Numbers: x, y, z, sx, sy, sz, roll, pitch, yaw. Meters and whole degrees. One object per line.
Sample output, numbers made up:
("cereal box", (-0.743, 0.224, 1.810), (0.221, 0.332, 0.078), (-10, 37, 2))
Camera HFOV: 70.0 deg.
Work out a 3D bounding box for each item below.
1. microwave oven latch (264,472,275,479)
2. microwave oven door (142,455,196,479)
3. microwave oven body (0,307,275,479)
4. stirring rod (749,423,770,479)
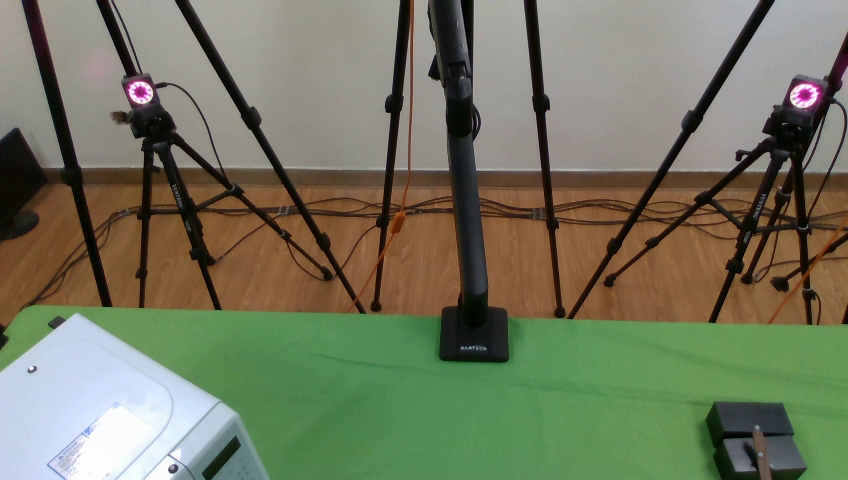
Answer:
("microwave oven latch", (-0.234, 0.365, 0.834), (0.030, 0.030, 0.079), (24, 51, 24))
("microwave oven door", (-0.355, 0.424, 0.632), (0.039, 0.246, 0.354), (21, 49, 24))
("microwave oven body", (-0.457, 0.353, 0.718), (0.324, 0.262, 0.440), (22, 50, 23))
("stirring rod", (0.464, 0.339, 0.818), (0.014, 0.006, 0.175), (-6, 68, 13))
